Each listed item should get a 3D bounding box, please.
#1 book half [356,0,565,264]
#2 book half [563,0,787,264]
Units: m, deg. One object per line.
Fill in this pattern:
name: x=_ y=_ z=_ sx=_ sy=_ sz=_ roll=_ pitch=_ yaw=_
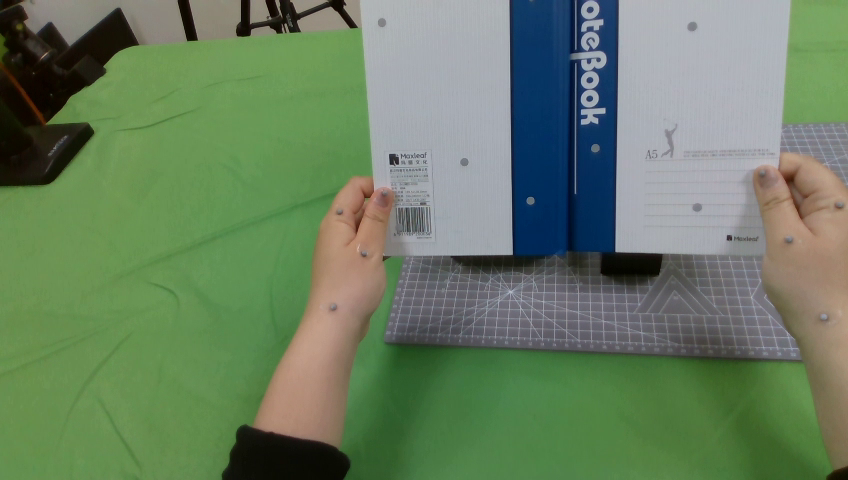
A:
book half: x=0.029 y=-0.085 z=0.452 sx=0.148 sy=0.211 sz=0.016 roll=-1 pitch=13 yaw=7
book half: x=0.168 y=-0.087 z=0.423 sx=0.142 sy=0.211 sz=0.007 roll=2 pitch=13 yaw=22
